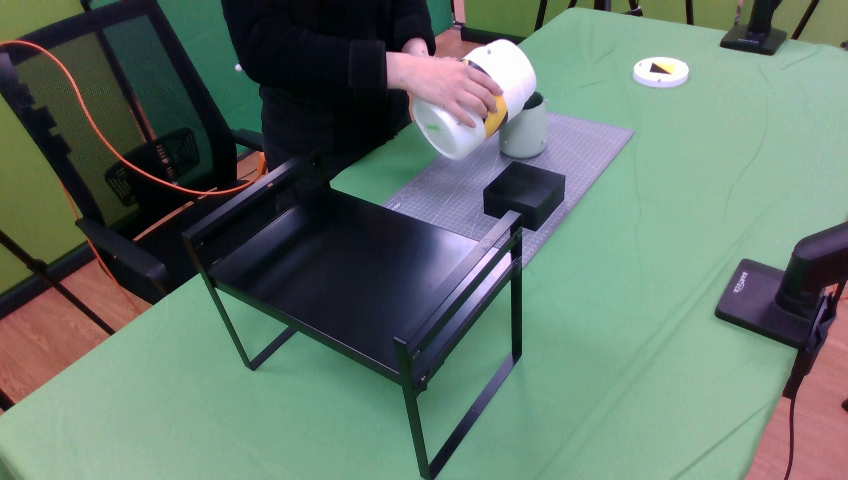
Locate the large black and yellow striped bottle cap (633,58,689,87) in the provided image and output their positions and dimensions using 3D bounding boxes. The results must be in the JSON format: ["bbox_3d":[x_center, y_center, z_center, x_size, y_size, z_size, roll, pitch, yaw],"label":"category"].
[{"bbox_3d":[0.522,-0.370,1.332,0.115,0.019,0.114,-3,41,3],"label":"large black and yellow striped bottle cap"}]

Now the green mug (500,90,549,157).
[{"bbox_3d":[0.196,-0.229,1.145,0.092,0.105,0.125,15,46,25],"label":"green mug"}]

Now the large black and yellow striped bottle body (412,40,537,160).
[{"bbox_3d":[0.087,-0.238,1.015,0.184,0.131,0.129,-40,48,-12],"label":"large black and yellow striped bottle body"}]
